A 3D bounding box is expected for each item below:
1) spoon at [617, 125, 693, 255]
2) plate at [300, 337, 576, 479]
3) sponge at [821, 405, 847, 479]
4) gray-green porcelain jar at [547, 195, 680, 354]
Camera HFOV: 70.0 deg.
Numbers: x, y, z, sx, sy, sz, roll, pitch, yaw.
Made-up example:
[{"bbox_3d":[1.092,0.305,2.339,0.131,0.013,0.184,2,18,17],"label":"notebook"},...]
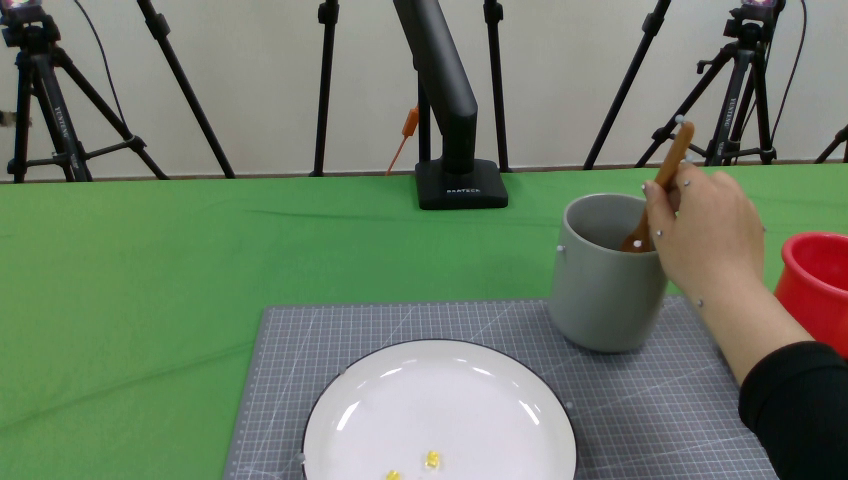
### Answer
[{"bbox_3d":[0.197,-0.023,0.526,0.021,0.195,0.041,-16,54,-7],"label":"spoon"},{"bbox_3d":[0.011,0.160,0.472,0.208,0.039,0.205,1,35,0],"label":"plate"},{"bbox_3d":[0.400,0.202,0.411,0.118,0.061,0.204,-3,35,-7],"label":"sponge"},{"bbox_3d":[0.175,0.037,0.580,0.106,0.127,0.105,1,35,0],"label":"gray-green porcelain jar"}]
